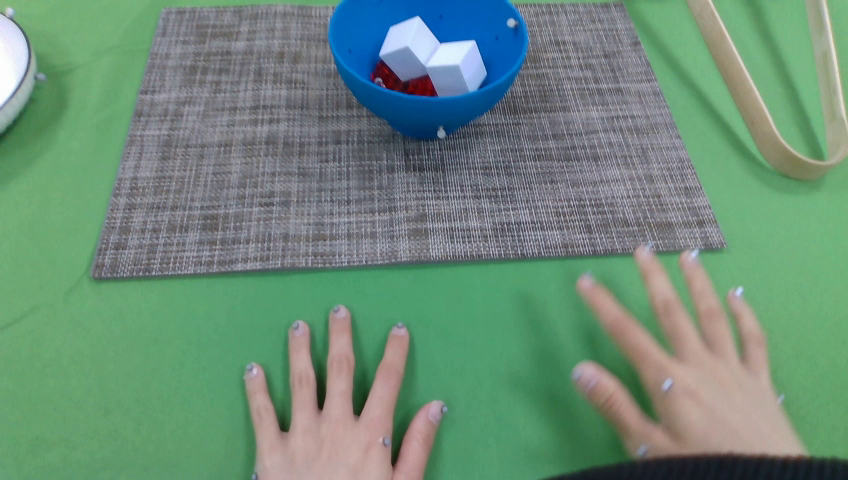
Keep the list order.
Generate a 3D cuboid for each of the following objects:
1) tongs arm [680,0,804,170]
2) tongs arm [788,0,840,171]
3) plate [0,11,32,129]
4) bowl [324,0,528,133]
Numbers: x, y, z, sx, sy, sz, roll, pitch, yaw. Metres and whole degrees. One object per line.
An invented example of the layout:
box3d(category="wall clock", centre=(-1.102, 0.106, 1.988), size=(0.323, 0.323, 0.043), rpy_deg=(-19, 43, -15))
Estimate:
box3d(category="tongs arm", centre=(0.247, -0.235, 0.552), size=(0.028, 0.028, 0.384), rpy_deg=(-7, 68, -12))
box3d(category="tongs arm", centre=(0.336, -0.235, 0.557), size=(0.051, 0.026, 0.382), rpy_deg=(6, 68, -3))
box3d(category="plate", centre=(-0.416, -0.114, 0.472), size=(0.209, 0.038, 0.207), rpy_deg=(2, 57, -2))
box3d(category="bowl", centre=(0.000, -0.140, 0.482), size=(0.151, 0.077, 0.150), rpy_deg=(1, 56, -2))
